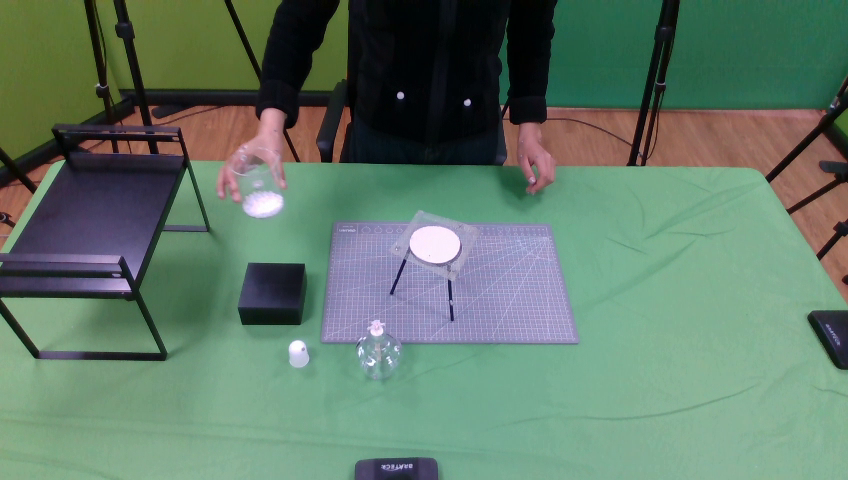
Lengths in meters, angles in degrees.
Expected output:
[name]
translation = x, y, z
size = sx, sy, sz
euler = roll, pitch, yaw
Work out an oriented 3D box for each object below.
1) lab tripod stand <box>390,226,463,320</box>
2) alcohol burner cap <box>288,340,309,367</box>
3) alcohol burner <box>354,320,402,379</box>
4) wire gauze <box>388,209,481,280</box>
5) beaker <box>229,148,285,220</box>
[lab tripod stand]
translation = 0.014, 0.053, 1.063
size = 0.148, 0.132, 0.147
euler = 1, 48, -1
[alcohol burner cap]
translation = -0.206, 0.182, 0.992
size = 0.034, 0.048, 0.033
euler = 2, 47, -2
[alcohol burner]
translation = -0.074, 0.169, 0.964
size = 0.078, 0.120, 0.077
euler = 1, 46, -1
[wire gauze]
translation = 0.018, 0.002, 1.019
size = 0.125, 0.011, 0.121
euler = 21, 49, 16
[beaker]
translation = -0.266, -0.090, 0.990
size = 0.084, 0.101, 0.073
euler = -25, 52, -23
